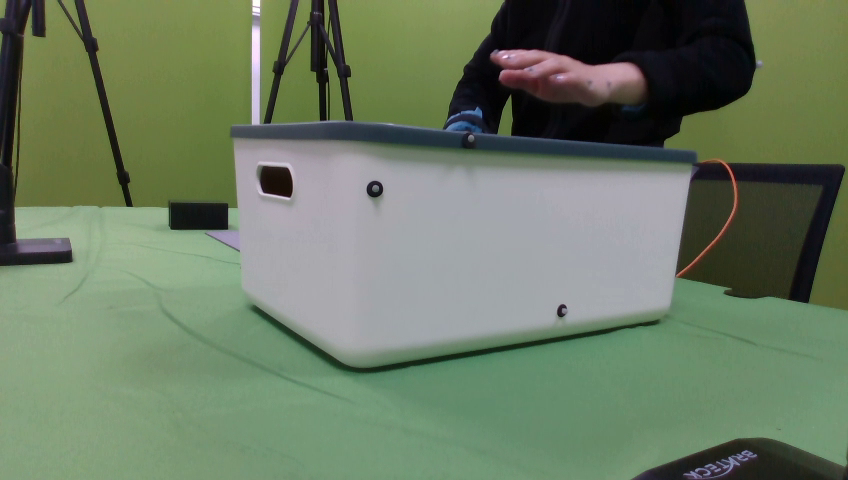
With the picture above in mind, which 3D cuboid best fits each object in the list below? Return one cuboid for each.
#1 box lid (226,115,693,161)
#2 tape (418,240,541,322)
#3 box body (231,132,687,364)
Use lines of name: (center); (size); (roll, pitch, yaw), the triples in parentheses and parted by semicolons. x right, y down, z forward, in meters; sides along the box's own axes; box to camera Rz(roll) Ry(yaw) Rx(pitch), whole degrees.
box lid: (0.031, -0.086, 0.554); (0.373, 0.015, 0.262); (-2, 8, -33)
tape: (0.052, 0.035, 0.571); (0.117, 0.052, 0.117); (1, 10, 0)
box body: (0.031, -0.013, 0.563); (0.366, 0.160, 0.253); (-3, 8, -33)
